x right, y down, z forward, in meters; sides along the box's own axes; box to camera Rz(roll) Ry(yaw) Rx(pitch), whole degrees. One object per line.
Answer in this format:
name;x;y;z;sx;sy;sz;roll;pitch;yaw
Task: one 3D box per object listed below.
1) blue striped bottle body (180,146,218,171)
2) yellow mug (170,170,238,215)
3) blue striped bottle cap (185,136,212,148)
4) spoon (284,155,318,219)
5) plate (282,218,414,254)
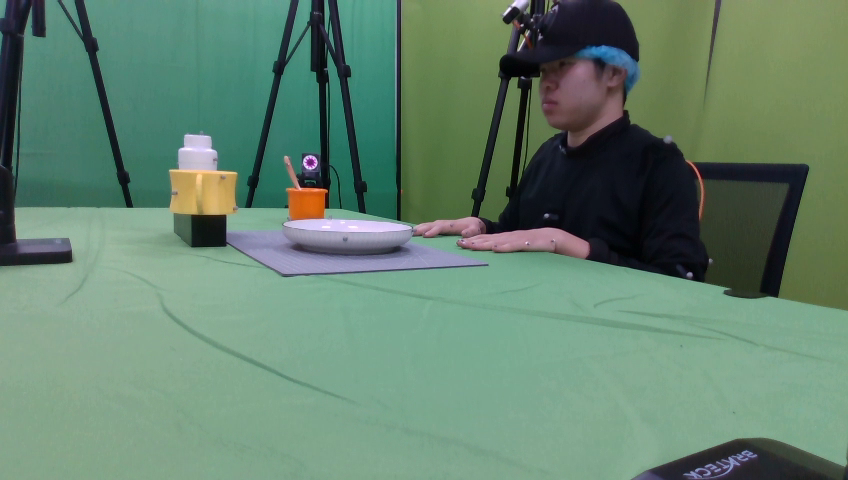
blue striped bottle body;-0.392;-0.118;1.053;0.063;0.120;0.063;3;7;0
yellow mug;-0.342;-0.074;0.939;0.100;0.064;0.130;0;8;-16
blue striped bottle cap;-0.390;-0.169;1.047;0.044;0.020;0.044;4;9;0
spoon;-0.286;-0.121;1.367;0.042;0.021;0.193;-5;50;-37
plate;-0.121;-0.007;0.971;0.208;0.039;0.207;2;7;0
